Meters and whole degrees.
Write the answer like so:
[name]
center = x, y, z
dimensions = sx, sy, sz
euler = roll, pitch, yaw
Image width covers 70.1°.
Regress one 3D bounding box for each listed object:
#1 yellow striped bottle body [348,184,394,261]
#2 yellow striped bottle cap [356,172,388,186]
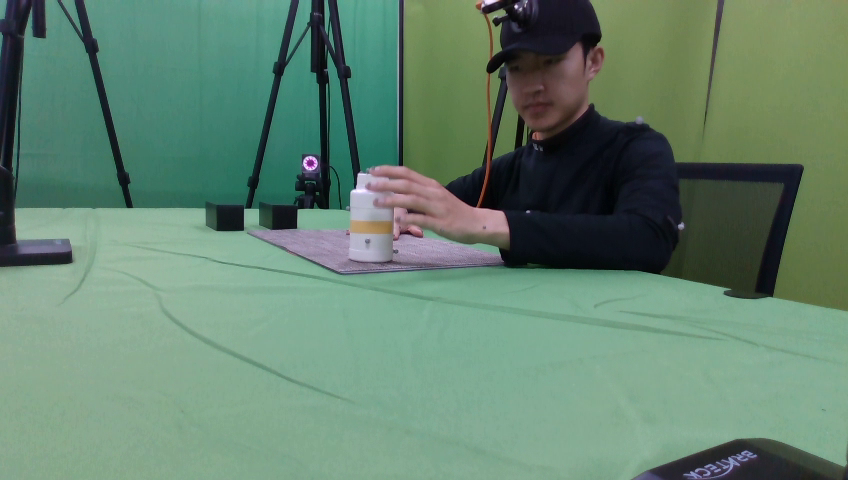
[yellow striped bottle body]
center = -0.073, -0.033, 0.845
dimensions = 0.063, 0.120, 0.063
euler = 2, 7, 0
[yellow striped bottle cap]
center = -0.072, -0.084, 0.839
dimensions = 0.044, 0.018, 0.044
euler = 2, 9, 0
